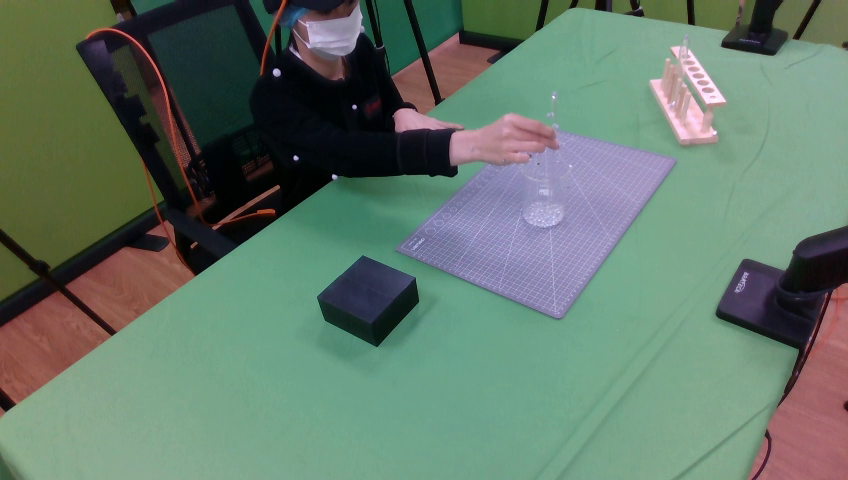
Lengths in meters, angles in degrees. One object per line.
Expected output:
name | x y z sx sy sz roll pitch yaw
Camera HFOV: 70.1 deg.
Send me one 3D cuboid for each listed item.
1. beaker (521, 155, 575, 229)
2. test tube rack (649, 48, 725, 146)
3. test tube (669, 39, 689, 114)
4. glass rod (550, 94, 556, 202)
beaker | 0.197 -0.075 0.969 0.084 0.101 0.073 -6 40 2
test tube rack | 0.508 -0.285 1.186 0.067 0.085 0.241 -4 40 6
test tube | 0.482 -0.308 1.146 0.017 0.151 0.017 -5 42 5
glass rod | 0.194 -0.132 0.911 0.008 0.201 0.008 -5 45 6
